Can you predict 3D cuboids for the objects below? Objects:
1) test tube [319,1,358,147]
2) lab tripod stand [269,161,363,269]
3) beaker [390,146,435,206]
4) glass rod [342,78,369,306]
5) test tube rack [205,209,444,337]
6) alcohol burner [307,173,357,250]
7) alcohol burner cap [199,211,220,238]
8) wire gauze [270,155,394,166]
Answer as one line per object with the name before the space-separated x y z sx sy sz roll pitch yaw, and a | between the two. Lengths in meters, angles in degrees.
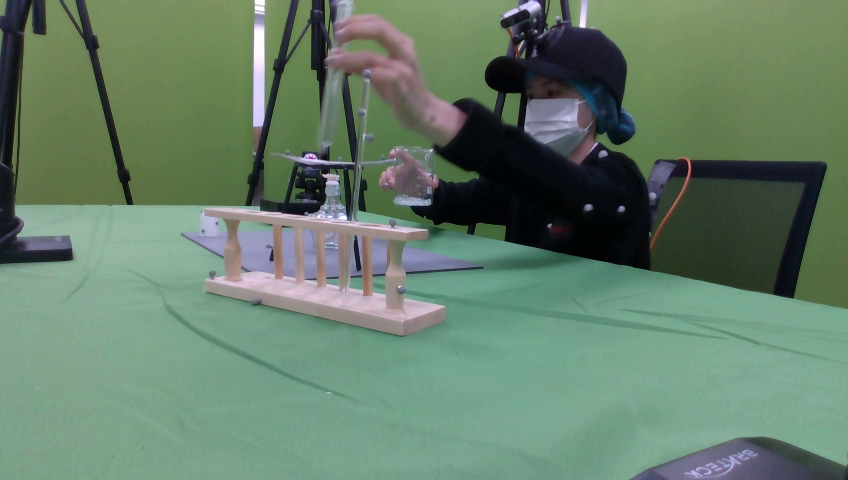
test tube | -0.086 -0.167 0.610 0.017 0.150 0.017 9 -5 1
lab tripod stand | -0.125 -0.036 0.794 0.148 0.131 0.148 5 7 0
beaker | -0.018 -0.109 1.042 0.074 0.100 0.083 -3 8 -40
glass rod | -0.059 -0.038 0.522 0.008 0.199 0.008 6 5 0
test tube rack | -0.100 0.021 0.565 0.241 0.085 0.067 7 9 32
alcohol burner | -0.144 -0.045 0.940 0.078 0.119 0.078 1 8 0
alcohol burner cap | -0.356 -0.027 1.002 0.034 0.048 0.034 2 7 0
wire gauze | -0.121 -0.102 0.785 0.122 0.011 0.124 -3 10 -39
